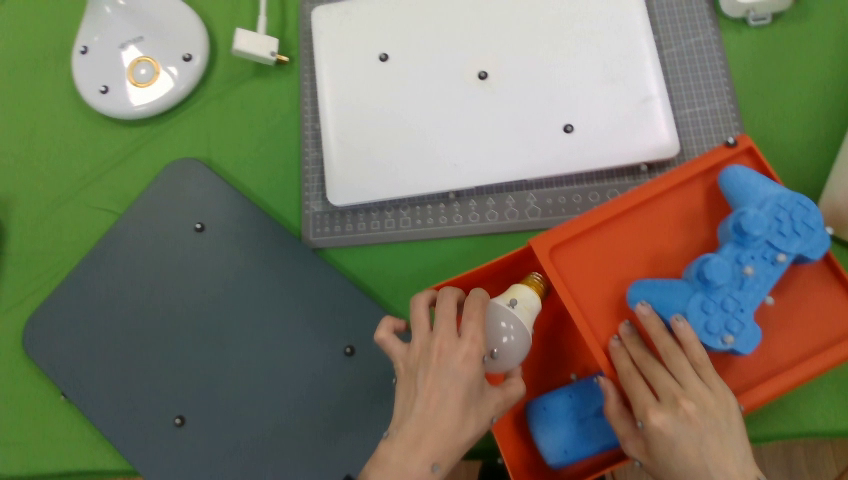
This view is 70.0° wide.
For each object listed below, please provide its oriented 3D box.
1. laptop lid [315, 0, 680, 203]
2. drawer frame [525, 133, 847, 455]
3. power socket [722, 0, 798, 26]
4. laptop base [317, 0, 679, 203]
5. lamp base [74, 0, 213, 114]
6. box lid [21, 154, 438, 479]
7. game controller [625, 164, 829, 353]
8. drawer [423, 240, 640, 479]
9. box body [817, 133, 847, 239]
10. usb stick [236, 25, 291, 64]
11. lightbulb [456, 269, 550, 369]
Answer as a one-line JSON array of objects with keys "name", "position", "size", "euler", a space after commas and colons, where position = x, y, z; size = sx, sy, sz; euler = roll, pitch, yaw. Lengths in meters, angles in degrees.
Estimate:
[{"name": "laptop lid", "position": [0.064, -0.170, 0.626], "size": [0.356, 0.013, 0.240], "euler": [-6, 76, 5]}, {"name": "drawer frame", "position": [0.224, 0.045, 0.525], "size": [0.213, 0.083, 0.200], "euler": [-26, 73, -1]}, {"name": "power socket", "position": [0.342, -0.335, 0.650], "size": [0.072, 0.033, 0.225], "euler": [-6, 73, 3]}, {"name": "laptop base", "position": [0.066, -0.169, 0.638], "size": [0.354, 0.023, 0.234], "euler": [-7, 77, 4]}, {"name": "lamp base", "position": [-0.334, -0.248, 0.620], "size": [0.160, 0.181, 0.178], "euler": [-32, 70, -4]}, {"name": "box lid", "position": [-0.199, 0.101, 0.592], "size": [0.369, 0.015, 0.263], "euler": [38, 81, 14]}, {"name": "game controller", "position": [0.243, 0.015, 0.477], "size": [0.096, 0.052, 0.155], "euler": [40, 84, 12]}, {"name": "drawer", "position": [0.132, 0.089, 0.526], "size": [0.212, 0.074, 0.193], "euler": [-25, 72, -1]}, {"name": "box body", "position": [0.535, -0.127, 0.500], "size": [0.253, 0.161, 0.363], "euler": [28, 79, 13]}, {"name": "usb stick", "position": [-0.174, -0.212, 0.665], "size": [0.059, 0.021, 0.027], "euler": [14, 78, -24]}, {"name": "lightbulb", "position": [0.071, 0.061, 0.507], "size": [0.059, 0.060, 0.107], "euler": [38, 59, 16]}]
